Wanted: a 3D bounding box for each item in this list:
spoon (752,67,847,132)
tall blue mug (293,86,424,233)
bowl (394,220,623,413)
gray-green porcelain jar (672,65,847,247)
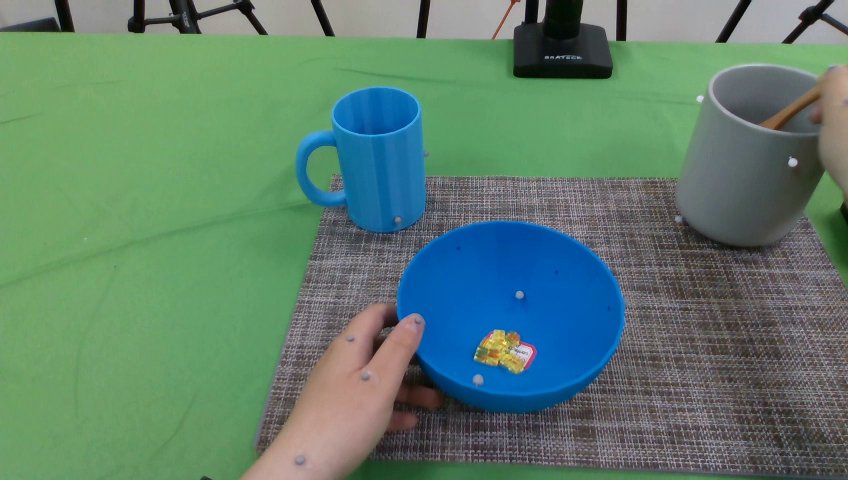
[{"bbox_3d":[0.284,-0.100,0.448,0.022,0.194,0.041,26,54,-18],"label":"spoon"},{"bbox_3d":[-0.052,-0.063,0.537,0.107,0.109,0.077,-32,53,-26],"label":"tall blue mug"},{"bbox_3d":[0.056,0.064,0.426,0.151,0.077,0.150,-1,45,1],"label":"bowl"},{"bbox_3d":[0.275,-0.065,0.513,0.106,0.127,0.105,-1,45,2],"label":"gray-green porcelain jar"}]
